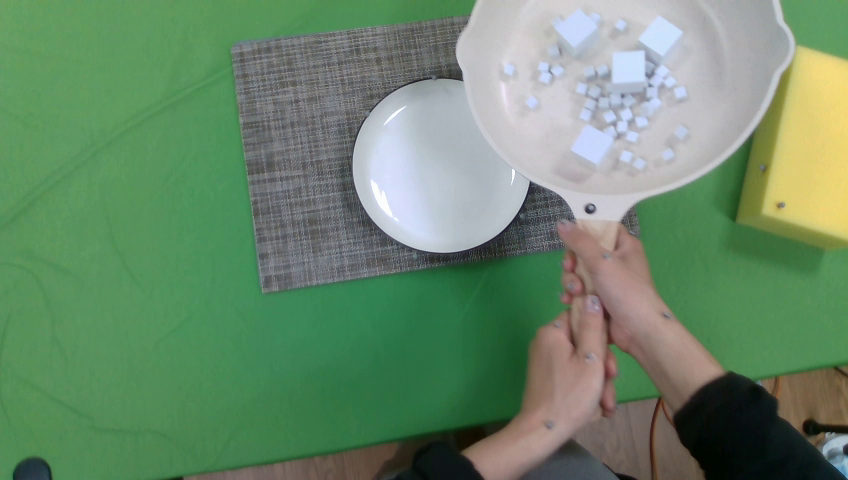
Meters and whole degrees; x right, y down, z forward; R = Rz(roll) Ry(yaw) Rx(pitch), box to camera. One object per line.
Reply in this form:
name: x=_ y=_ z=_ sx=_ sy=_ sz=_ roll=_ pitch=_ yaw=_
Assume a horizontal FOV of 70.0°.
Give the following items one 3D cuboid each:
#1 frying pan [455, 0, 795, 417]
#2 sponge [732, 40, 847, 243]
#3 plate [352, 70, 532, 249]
frying pan: x=0.169 y=-0.082 z=0.577 sx=0.305 sy=0.103 sz=0.485 roll=5 pitch=77 yaw=18
sponge: x=0.456 y=-0.113 z=0.715 sx=0.118 sy=0.061 sz=0.206 roll=15 pitch=84 yaw=0
plate: x=0.022 y=-0.091 z=0.703 sx=0.208 sy=0.039 sz=0.207 roll=0 pitch=84 yaw=-2
